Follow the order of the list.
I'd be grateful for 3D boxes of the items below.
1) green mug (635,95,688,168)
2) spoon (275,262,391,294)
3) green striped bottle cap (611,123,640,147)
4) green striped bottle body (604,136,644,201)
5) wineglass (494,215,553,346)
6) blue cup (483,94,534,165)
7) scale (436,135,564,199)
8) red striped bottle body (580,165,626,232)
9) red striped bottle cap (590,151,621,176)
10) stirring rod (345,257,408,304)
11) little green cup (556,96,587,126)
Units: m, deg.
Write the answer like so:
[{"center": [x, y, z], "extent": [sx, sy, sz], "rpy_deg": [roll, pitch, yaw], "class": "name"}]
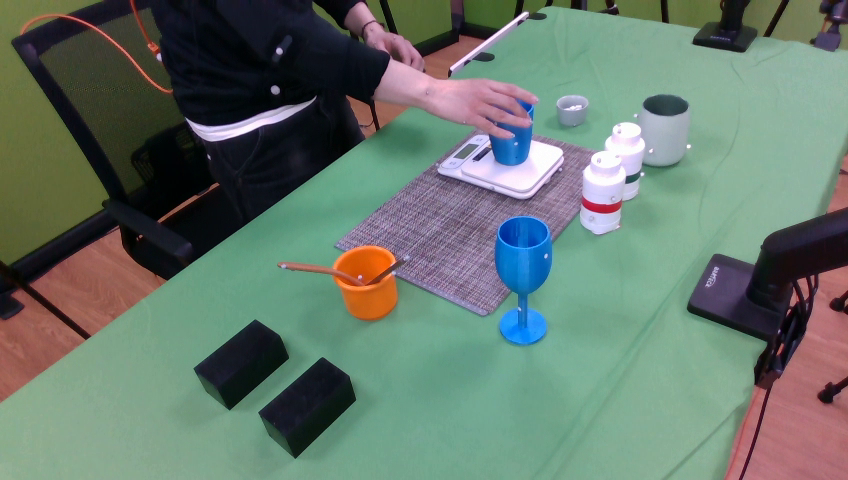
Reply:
[{"center": [0.421, -0.201, 1.081], "extent": [0.092, 0.105, 0.125], "rpy_deg": [5, 42, 15], "class": "green mug"}, {"center": [-0.120, 0.050, 0.830], "extent": [0.041, 0.195, 0.021], "rpy_deg": [31, 97, 45], "class": "spoon"}, {"center": [0.322, -0.168, 0.963], "extent": [0.044, 0.020, 0.044], "rpy_deg": [-3, 41, 3], "class": "green striped bottle cap"}, {"center": [0.326, -0.128, 0.997], "extent": [0.063, 0.120, 0.063], "rpy_deg": [-4, 41, 4], "class": "green striped bottle body"}, {"center": [0.127, 0.055, 0.770], "extent": [0.074, 0.173, 0.073], "rpy_deg": [-4, 40, 4], "class": "wineglass"}, {"center": [0.150, -0.187, 1.052], "extent": [0.092, 0.101, 0.092], "rpy_deg": [-6, 40, 6], "class": "blue cup"}, {"center": [0.137, -0.142, 1.101], "extent": [0.199, 0.032, 0.149], "rpy_deg": [22, 48, 30], "class": "scale"}, {"center": [0.278, -0.075, 0.942], "extent": [0.063, 0.120, 0.062], "rpy_deg": [-4, 41, 4], "class": "red striped bottle body"}, {"center": [0.272, -0.115, 0.908], "extent": [0.044, 0.018, 0.044], "rpy_deg": [-3, 45, 4], "class": "red striped bottle cap"}, {"center": [-0.067, 0.057, 0.814], "extent": [0.014, 0.175, 0.006], "rpy_deg": [-25, 82, -38], "class": "stirring rod"}, {"center": [0.295, -0.258, 1.214], "extent": [0.061, 0.039, 0.061], "rpy_deg": [-4, 42, 4], "class": "little green cup"}]
